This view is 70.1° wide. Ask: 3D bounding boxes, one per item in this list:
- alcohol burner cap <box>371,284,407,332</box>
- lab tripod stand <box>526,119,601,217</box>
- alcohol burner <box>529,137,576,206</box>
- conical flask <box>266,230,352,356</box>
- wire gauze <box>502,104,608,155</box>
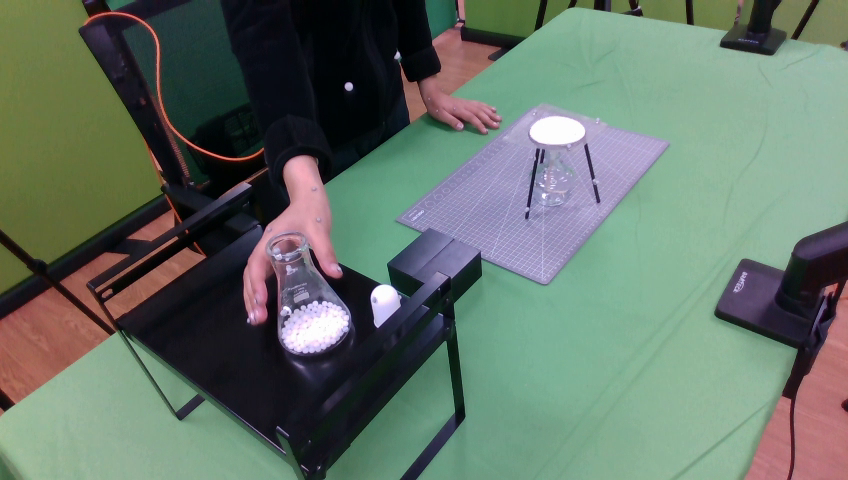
[{"bbox_3d":[-0.037,0.066,0.608,0.034,0.048,0.033,-5,40,5],"label":"alcohol burner cap"},{"bbox_3d":[0.220,-0.122,0.995,0.148,0.132,0.147,-3,39,3],"label":"lab tripod stand"},{"bbox_3d":[0.214,-0.117,1.006,0.078,0.119,0.077,-4,38,4],"label":"alcohol burner"},{"bbox_3d":[-0.117,0.047,0.580,0.075,0.122,0.075,-5,40,4],"label":"conical flask"},{"bbox_3d":[0.207,-0.173,0.952,0.120,0.011,0.125,24,48,31],"label":"wire gauze"}]
